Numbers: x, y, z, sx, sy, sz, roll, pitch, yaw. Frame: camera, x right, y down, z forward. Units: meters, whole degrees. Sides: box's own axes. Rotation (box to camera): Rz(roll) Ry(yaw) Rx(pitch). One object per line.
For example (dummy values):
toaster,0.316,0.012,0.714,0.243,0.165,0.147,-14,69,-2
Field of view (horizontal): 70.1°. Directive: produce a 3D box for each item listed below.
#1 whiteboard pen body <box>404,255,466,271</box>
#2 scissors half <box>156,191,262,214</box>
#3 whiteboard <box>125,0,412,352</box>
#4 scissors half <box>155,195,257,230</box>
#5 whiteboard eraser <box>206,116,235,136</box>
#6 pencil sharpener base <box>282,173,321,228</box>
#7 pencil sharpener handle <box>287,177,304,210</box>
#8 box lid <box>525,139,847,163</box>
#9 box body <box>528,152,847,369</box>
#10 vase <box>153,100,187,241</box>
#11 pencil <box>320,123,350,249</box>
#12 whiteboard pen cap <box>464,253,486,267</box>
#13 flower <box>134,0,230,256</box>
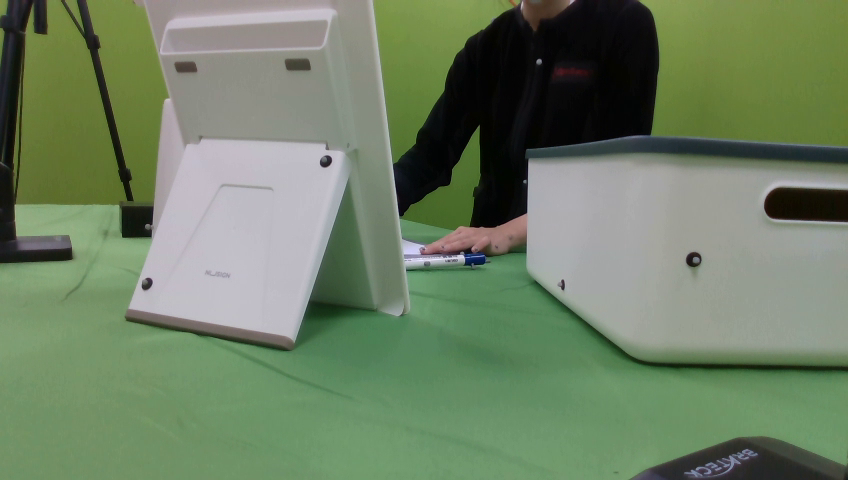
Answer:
whiteboard pen body,0.013,0.030,0.792,0.141,0.017,0.017,-3,9,-24
scissors half,-0.371,-0.068,1.051,0.176,0.040,0.013,2,26,-24
whiteboard,-0.151,-0.049,0.472,0.216,0.305,0.144,6,27,24
scissors half,-0.378,-0.051,1.059,0.176,0.040,0.012,20,23,-31
whiteboard eraser,-0.450,-0.252,1.335,0.056,0.042,0.112,1,7,-22
pencil sharpener base,-0.247,-0.080,1.212,0.061,0.107,0.076,-2,5,-28
pencil sharpener handle,-0.269,-0.096,1.257,0.036,0.067,0.030,-8,8,-27
box lid,0.261,-0.078,0.580,0.264,0.015,0.371,2,7,-4
box body,0.258,-0.005,0.591,0.254,0.160,0.363,2,7,-4
vase,-0.278,-0.066,0.736,0.098,0.200,0.098,2,9,0
pencil,-0.132,-0.081,0.912,0.012,0.194,0.012,-12,3,1
whiteboard pen cap,0.066,0.027,0.818,0.033,0.018,0.018,-5,10,-24
flower,-0.282,-0.147,0.713,0.038,0.362,0.044,-23,24,-31
